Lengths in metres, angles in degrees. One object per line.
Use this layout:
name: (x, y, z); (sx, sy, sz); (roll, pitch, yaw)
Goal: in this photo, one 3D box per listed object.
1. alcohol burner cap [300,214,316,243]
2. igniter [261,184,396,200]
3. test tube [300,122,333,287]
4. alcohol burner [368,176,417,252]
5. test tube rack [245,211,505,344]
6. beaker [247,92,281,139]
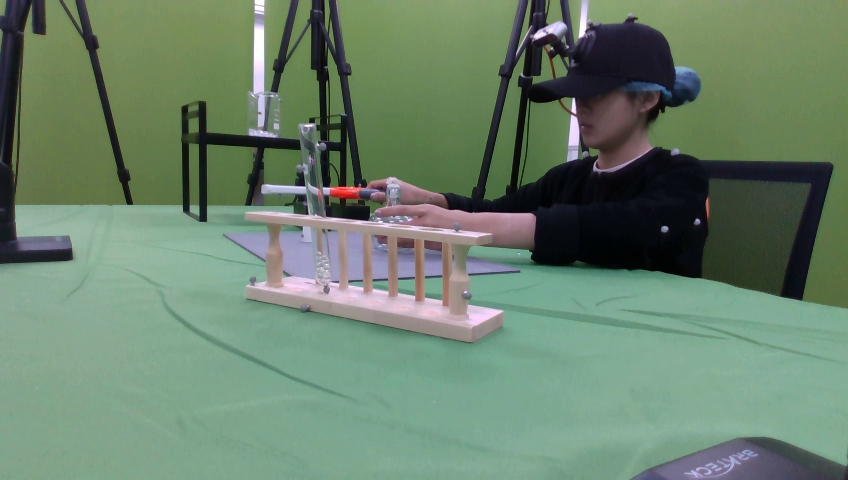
alcohol burner cap: (-0.186, -0.018, 0.991); (0.034, 0.048, 0.034); (2, 6, 0)
igniter: (-0.187, -0.097, 1.225); (0.278, 0.025, 0.057); (0, 5, -30)
test tube: (-0.096, -0.030, 0.543); (0.017, 0.150, 0.017); (-3, 14, 1)
alcohol burner: (-0.049, -0.041, 0.946); (0.078, 0.119, 0.078); (3, 5, 0)
test tube rack: (-0.049, 0.025, 0.547); (0.241, 0.085, 0.067); (7, 8, 29)
beaker: (-0.361, -0.280, 1.359); (0.074, 0.100, 0.084); (4, 8, 8)
